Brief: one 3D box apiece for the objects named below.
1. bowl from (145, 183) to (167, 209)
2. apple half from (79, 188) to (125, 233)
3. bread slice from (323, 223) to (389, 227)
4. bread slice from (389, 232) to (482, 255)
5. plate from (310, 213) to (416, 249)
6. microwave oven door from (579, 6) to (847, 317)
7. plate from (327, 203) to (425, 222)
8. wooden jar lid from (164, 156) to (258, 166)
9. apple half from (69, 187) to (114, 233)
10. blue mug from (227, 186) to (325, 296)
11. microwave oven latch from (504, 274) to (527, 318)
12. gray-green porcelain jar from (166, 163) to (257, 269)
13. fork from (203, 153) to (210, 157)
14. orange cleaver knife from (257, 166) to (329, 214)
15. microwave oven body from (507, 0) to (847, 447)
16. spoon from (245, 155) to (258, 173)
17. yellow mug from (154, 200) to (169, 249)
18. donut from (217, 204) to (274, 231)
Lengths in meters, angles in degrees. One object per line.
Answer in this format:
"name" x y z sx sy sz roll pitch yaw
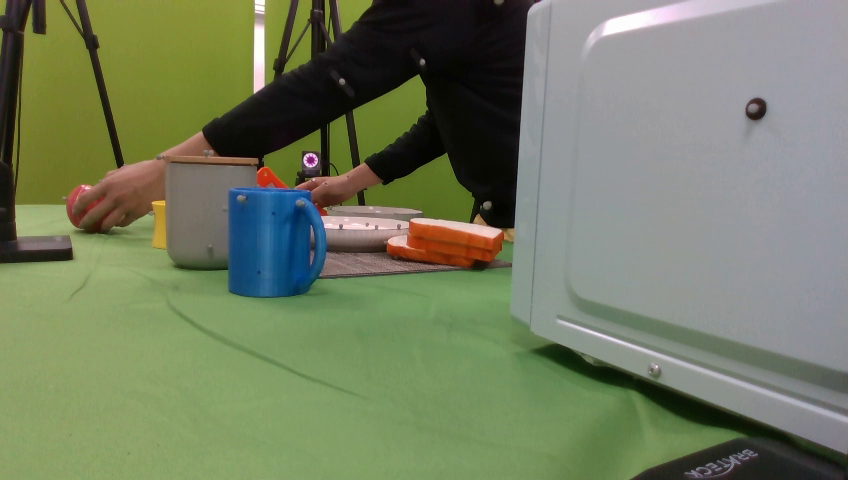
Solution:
"bowl" -0.459 -0.069 1.175 0.151 0.077 0.151 2 7 0
"apple half" -0.527 -0.048 1.002 0.032 0.081 0.081 4 8 29
"bread slice" -0.116 -0.013 0.975 0.135 0.018 0.106 -6 12 -42
"bread slice" 0.016 0.005 0.865 0.131 0.019 0.105 4 6 9
"plate" -0.117 -0.014 0.967 0.208 0.039 0.207 2 7 0
"microwave oven door" 0.294 -0.067 0.570 0.358 0.243 0.039 -3 9 -31
"plate" -0.102 -0.053 1.299 0.209 0.038 0.209 2 8 0
"wooden jar lid" -0.261 -0.093 0.746 0.108 0.020 0.108 1 9 0
"apple half" -0.560 -0.050 1.021 0.053 0.074 0.081 2 0 30
"blue mug" -0.146 0.000 0.618 0.116 0.106 0.083 7 9 32
"microwave oven latch" 0.100 0.041 0.472 0.079 0.029 0.030 -2 8 -29
"gray-green porcelain jar" -0.263 -0.031 0.754 0.106 0.126 0.106 2 7 0
"fork" -0.480 -0.134 1.411 0.028 0.018 0.207 1 -35 0
"orange cleaver knife" -0.293 -0.086 1.330 0.212 0.077 0.012 33 -14 -39
"microwave oven body" 0.331 -0.042 0.426 0.444 0.260 0.324 -2 8 -31
"spoon" -0.421 -0.150 1.540 0.042 0.193 0.021 -6 -34 -36
"yellow mug" -0.337 -0.023 0.899 0.130 0.064 0.100 8 11 34
"donut" -0.318 -0.039 1.080 0.099 0.048 0.099 2 7 0
